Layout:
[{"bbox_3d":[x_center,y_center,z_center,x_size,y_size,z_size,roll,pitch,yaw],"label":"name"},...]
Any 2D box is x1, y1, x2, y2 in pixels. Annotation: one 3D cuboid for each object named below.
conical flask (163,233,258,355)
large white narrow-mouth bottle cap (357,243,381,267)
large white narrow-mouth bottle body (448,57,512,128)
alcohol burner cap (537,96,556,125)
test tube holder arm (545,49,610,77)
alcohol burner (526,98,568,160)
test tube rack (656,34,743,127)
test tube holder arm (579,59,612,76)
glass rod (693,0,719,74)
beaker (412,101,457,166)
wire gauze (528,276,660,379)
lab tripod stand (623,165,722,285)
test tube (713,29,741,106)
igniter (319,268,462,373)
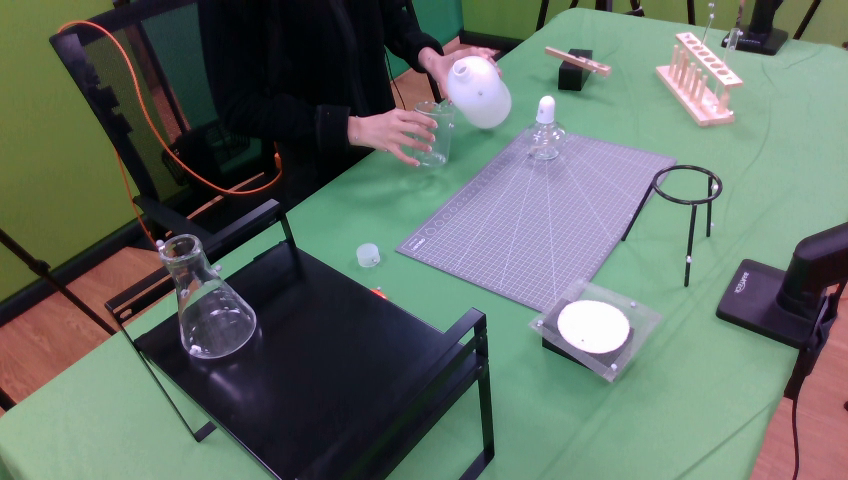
[{"bbox_3d":[-0.217,0.051,0.601,0.075,0.122,0.075,-4,40,4],"label":"conical flask"},{"bbox_3d":[-0.088,0.023,0.972,0.038,0.024,0.037,-4,41,4],"label":"large white narrow-mouth bottle cap"},{"bbox_3d":[0.099,-0.287,1.141,0.101,0.196,0.101,-3,80,20],"label":"large white narrow-mouth bottle body"},{"bbox_3d":[0.223,-0.237,1.095,0.034,0.048,0.033,-1,42,1],"label":"alcohol burner cap"},{"bbox_3d":[0.331,-0.387,1.314,0.013,0.015,0.177,-26,43,-29],"label":"test tube holder arm"},{"bbox_3d":[0.228,-0.210,1.118,0.078,0.119,0.077,-5,43,5],"label":"alcohol burner"},{"bbox_3d":[0.553,-0.330,1.233,0.067,0.085,0.241,-7,40,2],"label":"test tube rack"},{"bbox_3d":[0.363,-0.368,1.289,0.010,0.015,0.087,-26,43,-30],"label":"test tube holder arm"},{"bbox_3d":[0.560,-0.401,1.214,0.008,0.200,0.008,-1,48,2],"label":"glass rod"},{"bbox_3d":[0.018,-0.191,1.091,0.074,0.100,0.084,12,30,11],"label":"beaker"},{"bbox_3d":[0.214,0.103,0.763,0.124,0.011,0.122,30,52,35],"label":"wire gauze"},{"bbox_3d":[0.365,-0.030,0.875,0.148,0.132,0.147,-6,41,6],"label":"lab tripod stand"},{"bbox_3d":[0.572,-0.324,1.146,0.017,0.151,0.017,-3,39,3],"label":"test tube"},{"bbox_3d":[-0.059,0.107,0.862,0.274,0.025,0.057,27,62,34],"label":"igniter"}]
